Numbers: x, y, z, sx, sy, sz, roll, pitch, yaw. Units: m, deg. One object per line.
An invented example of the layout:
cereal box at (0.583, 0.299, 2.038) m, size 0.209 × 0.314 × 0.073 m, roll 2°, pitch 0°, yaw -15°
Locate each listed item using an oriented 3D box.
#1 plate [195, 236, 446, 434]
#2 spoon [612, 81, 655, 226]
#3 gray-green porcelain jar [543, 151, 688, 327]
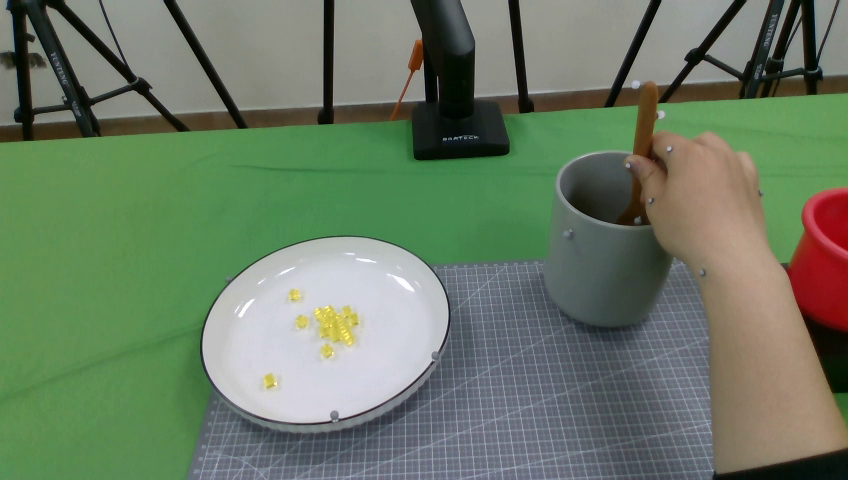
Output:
plate at (-0.085, 0.078, 0.521) m, size 0.208 × 0.039 × 0.205 m, roll -1°, pitch 42°, yaw 1°
spoon at (0.172, -0.046, 0.489) m, size 0.041 × 0.196 × 0.021 m, roll 24°, pitch 64°, yaw 29°
gray-green porcelain jar at (0.158, 0.004, 0.523) m, size 0.106 × 0.127 × 0.105 m, roll -2°, pitch 42°, yaw 2°
